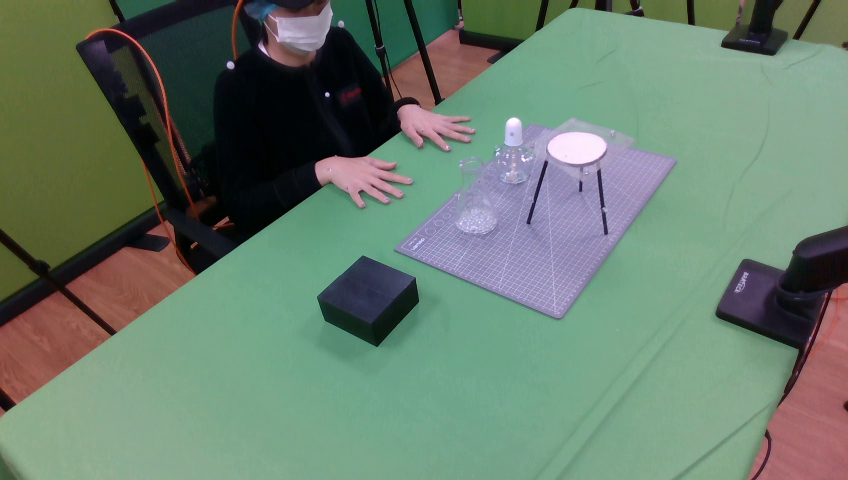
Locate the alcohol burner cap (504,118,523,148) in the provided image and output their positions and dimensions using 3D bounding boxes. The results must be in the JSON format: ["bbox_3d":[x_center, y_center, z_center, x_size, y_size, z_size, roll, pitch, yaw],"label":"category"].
[{"bbox_3d":[0.154,-0.186,1.042,0.034,0.048,0.033,-4,33,3],"label":"alcohol burner cap"}]

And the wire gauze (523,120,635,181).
[{"bbox_3d":[0.233,-0.142,0.913,0.122,0.011,0.124,-32,45,-25],"label":"wire gauze"}]

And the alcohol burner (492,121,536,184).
[{"bbox_3d":[0.159,-0.158,1.064,0.078,0.119,0.077,-3,41,3],"label":"alcohol burner"}]

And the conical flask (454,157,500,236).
[{"bbox_3d":[0.081,-0.072,0.967,0.075,0.122,0.075,-5,40,4],"label":"conical flask"}]

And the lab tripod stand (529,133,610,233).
[{"bbox_3d":[0.236,-0.089,0.953,0.148,0.132,0.147,-5,42,5],"label":"lab tripod stand"}]
